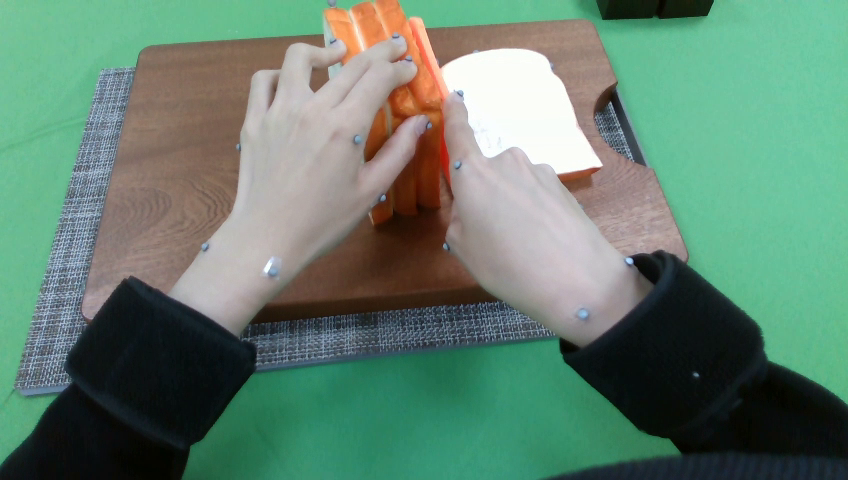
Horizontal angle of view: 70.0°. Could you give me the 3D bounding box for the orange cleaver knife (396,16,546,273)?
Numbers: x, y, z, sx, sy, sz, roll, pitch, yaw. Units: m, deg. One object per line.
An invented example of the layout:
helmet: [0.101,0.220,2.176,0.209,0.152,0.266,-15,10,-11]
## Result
orange cleaver knife: [0.021,-0.058,0.388,0.012,0.078,0.209,-15,60,-17]

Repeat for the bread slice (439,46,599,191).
bread slice: [0.062,-0.097,0.464,0.105,0.019,0.130,-11,61,-7]

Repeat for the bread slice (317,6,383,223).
bread slice: [-0.051,-0.092,0.416,0.018,0.108,0.133,-12,50,-11]
